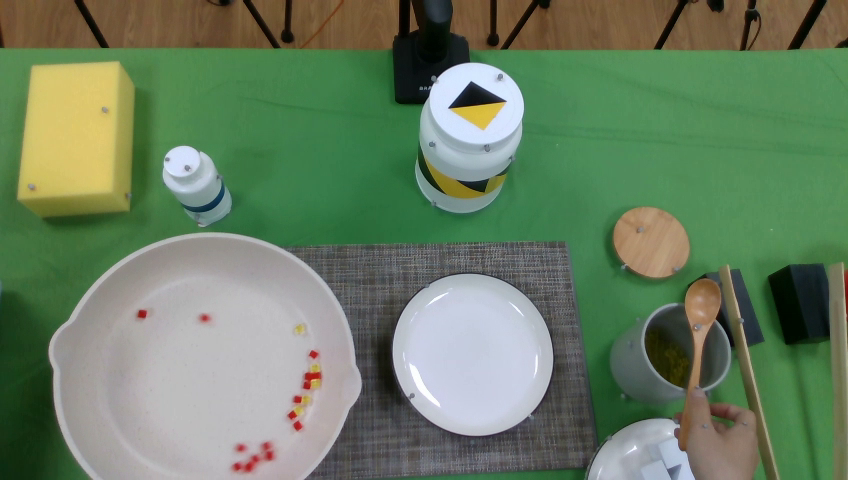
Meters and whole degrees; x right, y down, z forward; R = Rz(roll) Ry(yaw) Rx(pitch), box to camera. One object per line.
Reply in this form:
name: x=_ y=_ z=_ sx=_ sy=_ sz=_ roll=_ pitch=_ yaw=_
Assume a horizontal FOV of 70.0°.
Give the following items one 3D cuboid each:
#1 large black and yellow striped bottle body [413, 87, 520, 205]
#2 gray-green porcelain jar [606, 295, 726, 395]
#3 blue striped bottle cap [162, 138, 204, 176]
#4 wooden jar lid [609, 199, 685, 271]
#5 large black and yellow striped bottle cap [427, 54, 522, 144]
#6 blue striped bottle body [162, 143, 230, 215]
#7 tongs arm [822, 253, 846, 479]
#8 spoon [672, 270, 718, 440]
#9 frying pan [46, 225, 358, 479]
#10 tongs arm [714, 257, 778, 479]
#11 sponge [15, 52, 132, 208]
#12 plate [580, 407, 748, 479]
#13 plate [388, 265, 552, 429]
large black and yellow striped bottle body: x=0.054 y=-0.139 z=0.802 sx=0.131 sy=0.185 sz=0.130 roll=2 pitch=69 yaw=-4
gray-green porcelain jar: x=0.292 y=0.135 z=0.752 sx=0.106 sy=0.127 sz=0.105 roll=1 pitch=70 yaw=-4
blue striped bottle cap: x=-0.294 y=-0.102 z=0.737 sx=0.044 sy=0.021 sz=0.044 roll=2 pitch=71 yaw=-4
wooden jar lid: x=0.316 y=-0.006 z=0.862 sx=0.108 sy=0.021 sz=0.107 roll=1 pitch=71 yaw=-4
large black and yellow striped bottle cap: x=0.060 y=-0.170 z=0.724 sx=0.115 sy=0.019 sz=0.114 roll=1 pitch=71 yaw=-4
blue striped bottle body: x=-0.297 y=-0.083 z=0.785 sx=0.063 sy=0.121 sz=0.062 roll=1 pitch=69 yaw=-4
tongs arm: x=0.510 y=0.206 z=0.763 sx=0.028 sy=0.028 sz=0.386 roll=9 pitch=79 yaw=-9
spoon: x=0.299 y=0.127 z=0.682 sx=0.041 sy=0.022 sz=0.193 roll=16 pitch=74 yaw=-1
frying pan: x=-0.232 y=0.223 z=0.604 sx=0.308 sy=0.103 sz=0.484 roll=14 pitch=61 yaw=-19
tongs arm: x=0.426 y=0.208 z=0.754 sx=0.051 sy=0.026 sz=0.383 roll=-6 pitch=81 yaw=-9
sponge: x=-0.473 y=-0.151 z=0.827 sx=0.118 sy=0.061 sz=0.205 roll=-6 pitch=71 yaw=-7
plate: x=0.289 y=0.310 z=0.735 sx=0.208 sy=0.039 sz=0.206 roll=2 pitch=70 yaw=-4
plate: x=0.058 y=0.134 z=0.776 sx=0.209 sy=0.038 sz=0.207 roll=2 pitch=70 yaw=-4
